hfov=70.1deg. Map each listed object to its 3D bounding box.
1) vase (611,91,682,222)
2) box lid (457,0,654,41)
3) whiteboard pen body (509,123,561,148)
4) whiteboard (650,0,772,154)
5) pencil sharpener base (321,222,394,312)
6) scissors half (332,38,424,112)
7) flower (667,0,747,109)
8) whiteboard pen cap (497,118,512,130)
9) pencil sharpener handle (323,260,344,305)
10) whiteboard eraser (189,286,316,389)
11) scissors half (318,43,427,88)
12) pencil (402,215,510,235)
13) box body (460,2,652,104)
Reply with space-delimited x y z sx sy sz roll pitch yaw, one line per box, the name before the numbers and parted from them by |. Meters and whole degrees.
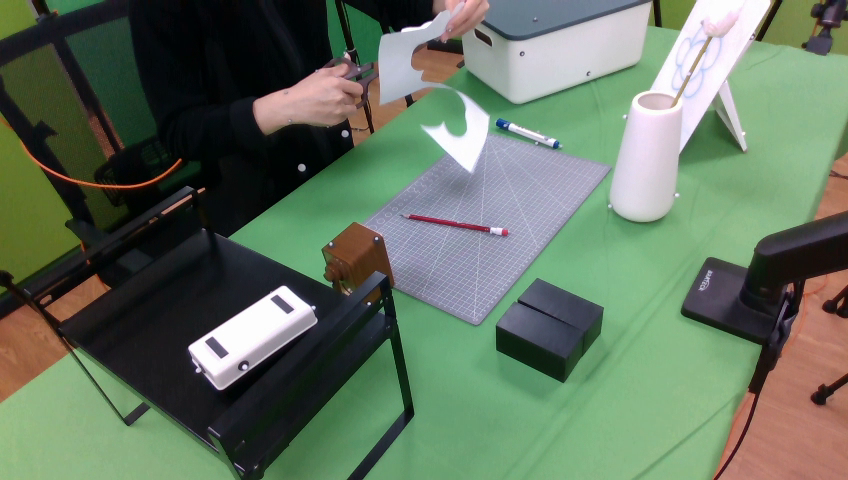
vase | 0.348 -0.125 0.935 0.098 0.201 0.097 -3 40 3
box lid | 0.285 -0.522 1.323 0.373 0.015 0.261 -22 43 -16
whiteboard pen body | 0.208 -0.211 1.196 0.139 0.017 0.017 30 52 33
whiteboard | 0.543 -0.298 1.076 0.144 0.305 0.216 12 40 -7
pencil sharpener base | -0.096 0.041 0.873 0.061 0.107 0.077 26 54 32
scissors half | -0.069 -0.250 0.916 0.175 0.040 0.013 -35 14 20
flower | 0.354 -0.187 0.879 0.038 0.362 0.044 30 48 14
whiteboard pen cap | 0.165 -0.235 1.227 0.033 0.018 0.018 31 53 31
pencil sharpener handle | -0.131 0.061 0.839 0.035 0.068 0.031 29 56 27
whiteboard eraser | -0.166 0.096 0.593 0.113 0.042 0.055 -36 47 -29
scissors half | -0.079 -0.267 0.909 0.175 0.040 0.013 -13 26 11
pencil | 0.049 -0.027 1.007 0.193 0.012 0.012 10 43 21
box body | 0.291 -0.465 1.371 0.365 0.161 0.252 -22 42 -16
